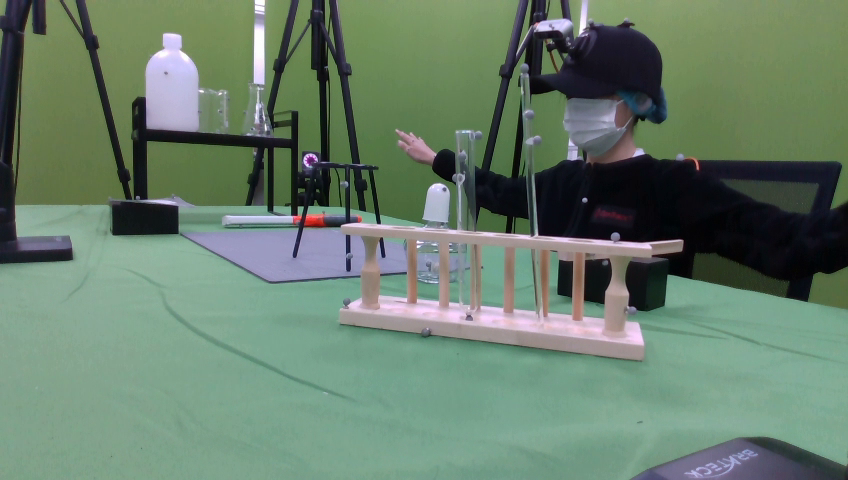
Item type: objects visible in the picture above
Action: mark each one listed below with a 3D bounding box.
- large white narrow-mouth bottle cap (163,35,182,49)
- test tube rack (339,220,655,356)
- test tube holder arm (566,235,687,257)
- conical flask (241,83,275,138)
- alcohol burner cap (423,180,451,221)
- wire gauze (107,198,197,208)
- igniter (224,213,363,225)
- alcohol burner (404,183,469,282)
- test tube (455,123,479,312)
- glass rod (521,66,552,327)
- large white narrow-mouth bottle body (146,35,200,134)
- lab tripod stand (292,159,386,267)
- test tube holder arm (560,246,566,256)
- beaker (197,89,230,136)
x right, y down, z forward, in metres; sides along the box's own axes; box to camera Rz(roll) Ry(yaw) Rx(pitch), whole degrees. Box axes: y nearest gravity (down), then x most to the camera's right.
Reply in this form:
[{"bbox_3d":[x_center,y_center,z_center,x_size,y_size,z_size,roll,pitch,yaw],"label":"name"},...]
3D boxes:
[{"bbox_3d":[-0.514,-0.403,1.233,0.038,0.024,0.037,2,7,0],"label":"large white narrow-mouth bottle cap"},{"bbox_3d":[0.056,0.032,0.495,0.242,0.085,0.067,4,7,15],"label":"test tube rack"},{"bbox_3d":[0.215,0.006,0.629,0.179,0.015,0.013,-3,9,-30],"label":"test tube holder arm"},{"bbox_3d":[-0.383,-0.297,1.392,0.075,0.122,0.075,2,7,0],"label":"conical flask"},{"bbox_3d":[0.017,-0.047,0.711,0.034,0.048,0.034,8,5,0],"label":"alcohol burner cap"},{"bbox_3d":[-0.462,-0.064,1.023,0.126,0.011,0.121,-2,7,-32],"label":"wire gauze"},{"bbox_3d":[-0.255,-0.041,1.210,0.278,0.025,0.057,-2,-2,-31],"label":"igniter"},{"bbox_3d":[0.015,-0.011,0.715,0.078,0.119,0.078,0,7,0],"label":"alcohol burner"},{"bbox_3d":[0.034,-0.016,0.476,0.017,0.150,0.017,-2,10,1],"label":"test tube"},{"bbox_3d":[0.085,-0.028,0.454,0.008,0.199,0.008,-7,10,2],"label":"glass rod"},{"bbox_3d":[-0.516,-0.319,1.243,0.102,0.194,0.102,2,7,0],"label":"large white narrow-mouth bottle body"},{"bbox_3d":[-0.105,-0.039,0.798,0.148,0.131,0.148,2,5,0],"label":"lab tripod stand"},{"bbox_3d":[0.173,0.007,0.611,0.088,0.015,0.010,-3,9,-30],"label":"test tube holder arm"},{"bbox_3d":[-0.472,-0.283,1.353,0.074,0.100,0.083,-4,10,-35],"label":"beaker"}]
